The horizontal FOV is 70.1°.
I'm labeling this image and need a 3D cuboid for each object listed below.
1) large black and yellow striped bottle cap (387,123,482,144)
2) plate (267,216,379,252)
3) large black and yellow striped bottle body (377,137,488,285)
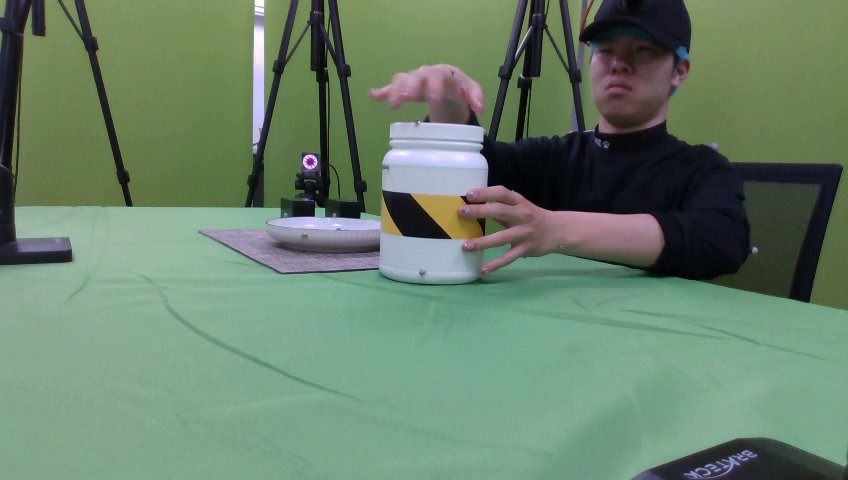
[{"bbox_3d":[0.013,-0.129,0.734,0.115,0.019,0.115,4,8,0],"label":"large black and yellow striped bottle cap"},{"bbox_3d":[-0.145,-0.010,0.967,0.208,0.039,0.207,2,7,0],"label":"plate"},{"bbox_3d":[0.010,-0.044,0.745,0.131,0.184,0.130,3,7,0],"label":"large black and yellow striped bottle body"}]
